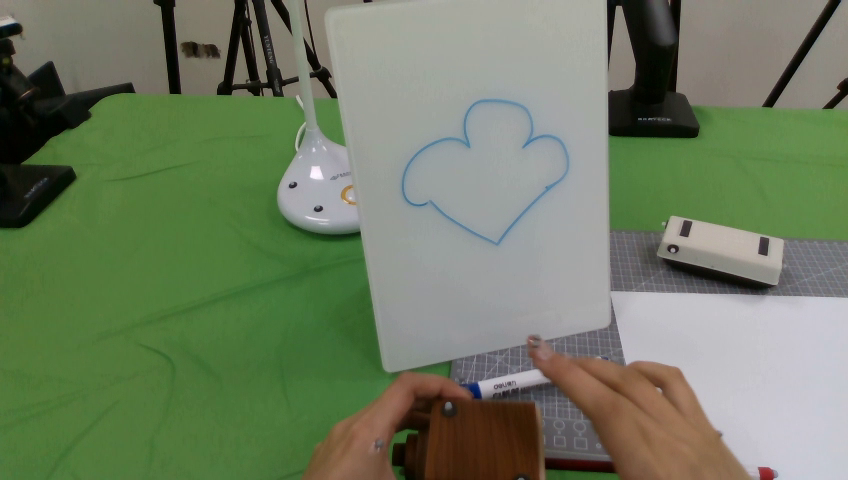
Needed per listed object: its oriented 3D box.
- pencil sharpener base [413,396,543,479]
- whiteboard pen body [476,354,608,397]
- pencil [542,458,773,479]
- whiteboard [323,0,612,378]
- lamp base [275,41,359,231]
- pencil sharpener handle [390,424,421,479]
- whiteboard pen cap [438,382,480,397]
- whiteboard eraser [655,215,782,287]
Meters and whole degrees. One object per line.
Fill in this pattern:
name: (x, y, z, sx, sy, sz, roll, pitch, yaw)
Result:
pencil sharpener base: (0.035, 0.158, 0.398, 0.076, 0.108, 0.061, 1, 40, 5)
whiteboard pen body: (0.087, 0.116, 0.507, 0.141, 0.017, 0.017, -10, 39, -8)
pencil: (0.113, 0.140, 0.373, 0.194, 0.012, 0.012, 1, 39, 4)
whiteboard: (0.039, -0.062, 0.558, 0.217, 0.307, 0.142, -10, 20, -8)
lamp base: (-0.112, -0.128, 0.701, 0.161, 0.182, 0.177, -30, 44, -29)
pencil sharpener handle: (-0.017, 0.149, 0.391, 0.030, 0.068, 0.036, 1, 25, 5)
whiteboard pen cap: (0.030, 0.128, 0.499, 0.033, 0.018, 0.018, -11, 39, -8)
whiteboard eraser: (0.296, 0.011, 0.613, 0.112, 0.042, 0.055, 16, 44, 21)
